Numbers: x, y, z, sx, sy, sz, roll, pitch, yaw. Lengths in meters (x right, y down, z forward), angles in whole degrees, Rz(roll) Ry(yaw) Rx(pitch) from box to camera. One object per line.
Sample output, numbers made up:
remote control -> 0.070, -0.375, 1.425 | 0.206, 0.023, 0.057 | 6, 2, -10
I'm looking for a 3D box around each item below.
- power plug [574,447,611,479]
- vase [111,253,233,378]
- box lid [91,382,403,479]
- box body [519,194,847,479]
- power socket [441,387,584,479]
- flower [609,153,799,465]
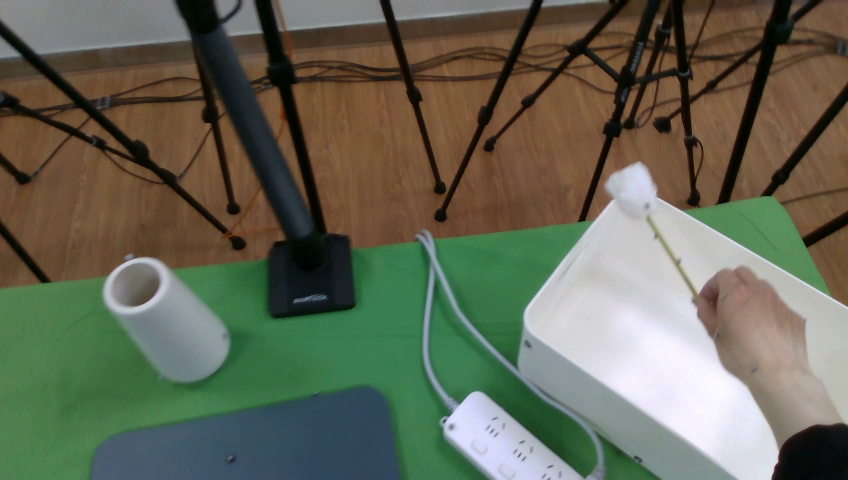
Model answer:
power plug -> 0.196, 0.280, 0.699 | 0.072, 0.053, 0.035 | -31, 61, -23
vase -> -0.303, 0.094, 0.740 | 0.098, 0.201, 0.097 | 1, 57, -1
box lid -> -0.203, 0.320, 0.712 | 0.372, 0.015, 0.260 | -10, 59, -6
box body -> 0.323, 0.142, 0.734 | 0.361, 0.162, 0.253 | 35, 65, 19
power socket -> 0.120, 0.269, 0.732 | 0.225, 0.033, 0.072 | 38, 65, 21
flower -> 0.299, 0.071, 0.639 | 0.044, 0.038, 0.360 | -28, 84, 5
